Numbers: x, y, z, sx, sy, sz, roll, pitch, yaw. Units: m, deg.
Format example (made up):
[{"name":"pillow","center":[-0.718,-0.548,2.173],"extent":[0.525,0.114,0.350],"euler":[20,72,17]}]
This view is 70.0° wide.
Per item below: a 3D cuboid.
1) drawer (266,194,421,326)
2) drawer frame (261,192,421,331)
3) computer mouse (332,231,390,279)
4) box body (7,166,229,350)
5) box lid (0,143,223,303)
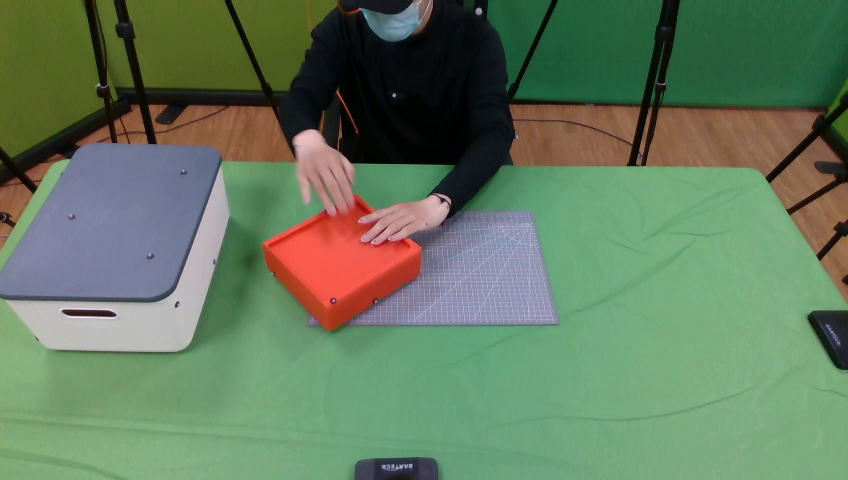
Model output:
[{"name":"drawer","center":[-0.146,0.031,1.113],"extent":[0.212,0.073,0.193],"euler":[-33,57,-29]},{"name":"drawer frame","center":[-0.148,0.032,1.110],"extent":[0.213,0.083,0.200],"euler":[-33,57,-29]},{"name":"computer mouse","center":[-0.120,0.022,1.143],"extent":[0.063,0.041,0.116],"euler":[-35,51,-27]},{"name":"box body","center":[-0.502,0.008,1.054],"extent":[0.254,0.161,0.361],"euler":[1,46,-3]},{"name":"box lid","center":[-0.499,-0.045,1.002],"extent":[0.263,0.015,0.369],"euler":[2,46,-3]}]
